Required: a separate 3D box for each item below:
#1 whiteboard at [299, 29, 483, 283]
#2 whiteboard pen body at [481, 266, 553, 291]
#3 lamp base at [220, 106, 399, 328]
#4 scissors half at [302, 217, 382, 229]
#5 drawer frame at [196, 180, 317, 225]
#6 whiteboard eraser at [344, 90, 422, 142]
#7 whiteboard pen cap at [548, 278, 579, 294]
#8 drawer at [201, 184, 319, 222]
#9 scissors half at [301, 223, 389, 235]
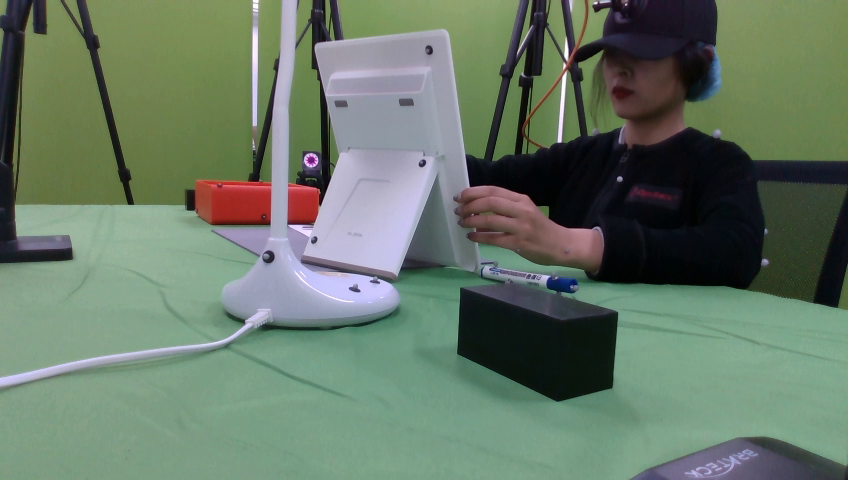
[{"bbox_3d":[-0.074,-0.082,0.742,0.216,0.305,0.144,9,29,38],"label":"whiteboard"},{"bbox_3d":[0.115,0.045,0.695,0.017,0.017,0.140,-3,6,-35],"label":"whiteboard pen body"},{"bbox_3d":[-0.102,-0.023,0.531,0.160,0.180,0.179,4,10,10],"label":"lamp base"},{"bbox_3d":[-0.161,-0.031,1.198,0.176,0.013,0.040,-8,24,-38],"label":"scissors half"},{"bbox_3d":[-0.359,-0.083,1.292,0.215,0.082,0.200,-2,10,-30],"label":"drawer frame"},{"bbox_3d":[-0.058,-0.163,0.805,0.112,0.055,0.042,1,31,40],"label":"whiteboard eraser"},{"bbox_3d":[0.148,0.049,0.646,0.018,0.018,0.033,-3,3,-36],"label":"whiteboard pen cap"},{"bbox_3d":[-0.353,-0.082,1.296,0.213,0.073,0.193,-2,10,-28],"label":"drawer"},{"bbox_3d":[-0.152,-0.023,1.182,0.176,0.013,0.040,1,25,-21],"label":"scissors half"}]
